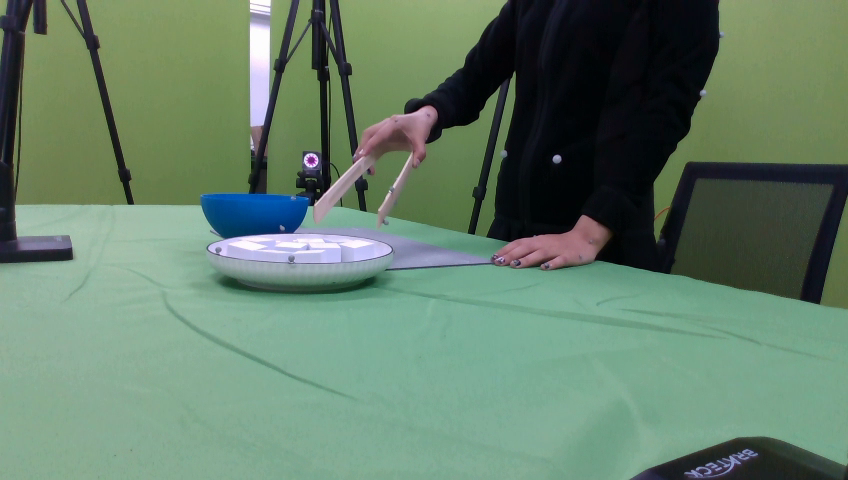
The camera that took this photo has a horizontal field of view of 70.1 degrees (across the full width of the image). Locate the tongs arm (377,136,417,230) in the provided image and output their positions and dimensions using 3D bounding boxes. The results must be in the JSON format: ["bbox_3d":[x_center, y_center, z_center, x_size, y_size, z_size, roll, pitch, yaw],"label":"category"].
[{"bbox_3d":[-0.047,-0.098,0.904,0.051,0.026,0.385,5,23,8],"label":"tongs arm"}]

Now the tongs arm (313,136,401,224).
[{"bbox_3d":[-0.092,-0.102,0.908,0.028,0.028,0.388,2,23,11],"label":"tongs arm"}]

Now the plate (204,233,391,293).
[{"bbox_3d":[-0.143,0.025,0.697,0.208,0.039,0.207,3,9,0],"label":"plate"}]

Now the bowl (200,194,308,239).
[{"bbox_3d":[-0.245,-0.025,0.879,0.151,0.077,0.151,2,7,0],"label":"bowl"}]
